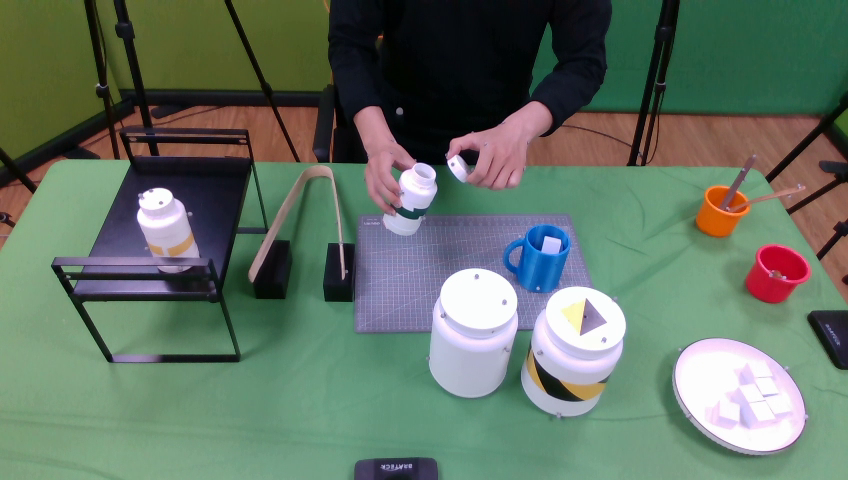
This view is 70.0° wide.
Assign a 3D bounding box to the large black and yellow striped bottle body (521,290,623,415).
[{"bbox_3d":[0.228,0.173,0.938,0.131,0.185,0.130,2,47,-2],"label":"large black and yellow striped bottle body"}]

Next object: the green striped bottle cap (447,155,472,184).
[{"bbox_3d":[0.055,-0.111,0.949,0.020,0.044,0.044,-39,47,19],"label":"green striped bottle cap"}]

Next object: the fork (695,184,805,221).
[{"bbox_3d":[0.657,-0.075,1.230,0.207,0.019,0.028,-23,34,37],"label":"fork"}]

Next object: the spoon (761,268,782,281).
[{"bbox_3d":[0.638,0.060,1.105,0.041,0.021,0.194,38,11,24],"label":"spoon"}]

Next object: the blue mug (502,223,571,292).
[{"bbox_3d":[0.203,0.031,1.121,0.116,0.106,0.082,5,47,1],"label":"blue mug"}]

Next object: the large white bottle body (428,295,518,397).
[{"bbox_3d":[0.075,0.147,0.950,0.131,0.185,0.130,2,47,-2],"label":"large white bottle body"}]

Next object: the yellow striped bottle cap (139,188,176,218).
[{"bbox_3d":[-0.363,-0.051,0.826,0.044,0.019,0.044,1,47,0],"label":"yellow striped bottle cap"}]

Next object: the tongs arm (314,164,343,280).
[{"bbox_3d":[-0.188,-0.049,1.170,0.051,0.026,0.382,-6,35,-6],"label":"tongs arm"}]

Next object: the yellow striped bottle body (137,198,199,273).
[{"bbox_3d":[-0.366,-0.014,0.864,0.063,0.121,0.062,2,46,-2],"label":"yellow striped bottle body"}]

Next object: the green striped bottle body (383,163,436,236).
[{"bbox_3d":[-0.021,-0.068,0.981,0.063,0.119,0.063,14,44,-13],"label":"green striped bottle body"}]

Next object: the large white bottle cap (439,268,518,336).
[{"bbox_3d":[0.080,0.089,0.888,0.115,0.018,0.114,2,47,-2],"label":"large white bottle cap"}]

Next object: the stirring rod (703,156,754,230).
[{"bbox_3d":[0.631,-0.098,1.258,0.014,0.006,0.176,33,95,29],"label":"stirring rod"}]

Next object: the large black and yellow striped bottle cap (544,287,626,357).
[{"bbox_3d":[0.232,0.116,0.876,0.115,0.019,0.114,2,46,-1],"label":"large black and yellow striped bottle cap"}]

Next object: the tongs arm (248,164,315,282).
[{"bbox_3d":[-0.270,-0.047,1.165,0.028,0.028,0.385,-1,34,7],"label":"tongs arm"}]

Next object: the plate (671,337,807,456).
[{"bbox_3d":[0.503,0.254,0.984,0.208,0.039,0.206,2,46,-2],"label":"plate"}]
